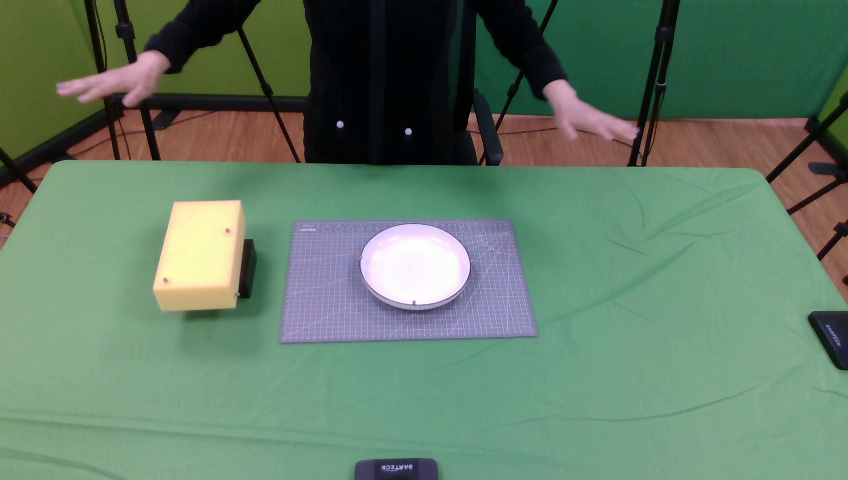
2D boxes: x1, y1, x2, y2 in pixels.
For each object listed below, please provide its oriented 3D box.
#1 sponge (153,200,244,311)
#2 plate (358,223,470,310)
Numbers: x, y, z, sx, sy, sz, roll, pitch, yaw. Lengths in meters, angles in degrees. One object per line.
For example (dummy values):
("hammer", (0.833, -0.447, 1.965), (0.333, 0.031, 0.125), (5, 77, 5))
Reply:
("sponge", (-0.384, 0.022, 1.051), (0.118, 0.061, 0.205), (-3, 47, -7))
("plate", (-0.019, 0.052, 1.132), (0.209, 0.038, 0.208), (2, 46, -2))
